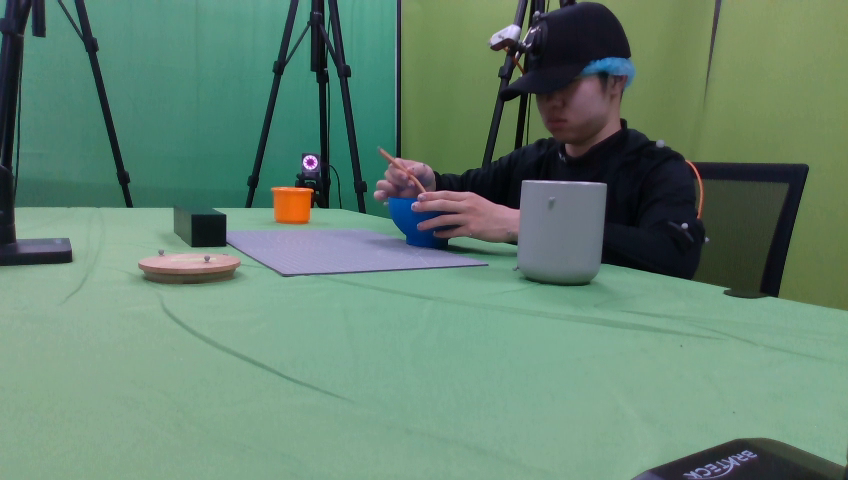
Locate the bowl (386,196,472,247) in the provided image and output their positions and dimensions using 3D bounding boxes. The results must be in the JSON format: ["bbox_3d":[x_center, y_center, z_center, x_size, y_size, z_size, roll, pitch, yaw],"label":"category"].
[{"bbox_3d":[0.006,-0.030,1.050,0.151,0.077,0.151,5,6,0],"label":"bowl"}]

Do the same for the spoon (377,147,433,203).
[{"bbox_3d":[-0.014,-0.095,1.047,0.193,0.021,0.042,49,8,11],"label":"spoon"}]

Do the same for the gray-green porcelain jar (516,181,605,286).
[{"bbox_3d":[0.172,-0.010,0.768,0.106,0.126,0.106,2,7,0],"label":"gray-green porcelain jar"}]

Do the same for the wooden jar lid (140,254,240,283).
[{"bbox_3d":[-0.269,0.032,0.698,0.108,0.020,0.108,2,5,0],"label":"wooden jar lid"}]
